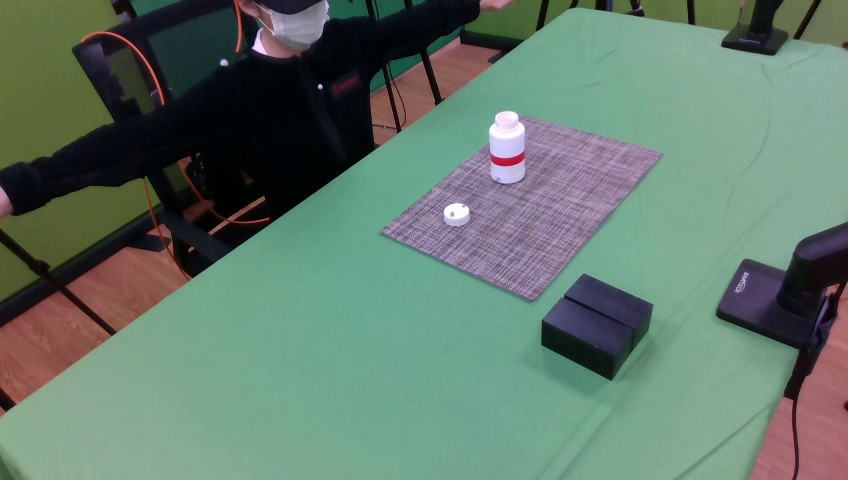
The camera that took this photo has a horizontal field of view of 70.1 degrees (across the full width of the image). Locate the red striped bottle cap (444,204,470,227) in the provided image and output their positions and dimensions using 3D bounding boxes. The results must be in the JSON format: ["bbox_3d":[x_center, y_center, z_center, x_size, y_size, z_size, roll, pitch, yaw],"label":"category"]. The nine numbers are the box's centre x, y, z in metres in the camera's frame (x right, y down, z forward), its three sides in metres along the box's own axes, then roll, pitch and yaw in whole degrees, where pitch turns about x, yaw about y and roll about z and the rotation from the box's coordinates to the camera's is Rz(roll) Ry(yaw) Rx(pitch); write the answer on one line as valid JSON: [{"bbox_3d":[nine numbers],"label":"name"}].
[{"bbox_3d":[0.055,-0.042,1.016,0.044,0.018,0.044,-2,42,2],"label":"red striped bottle cap"}]

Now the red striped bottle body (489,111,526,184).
[{"bbox_3d":[0.147,-0.164,1.064,0.063,0.120,0.062,-5,39,4],"label":"red striped bottle body"}]
